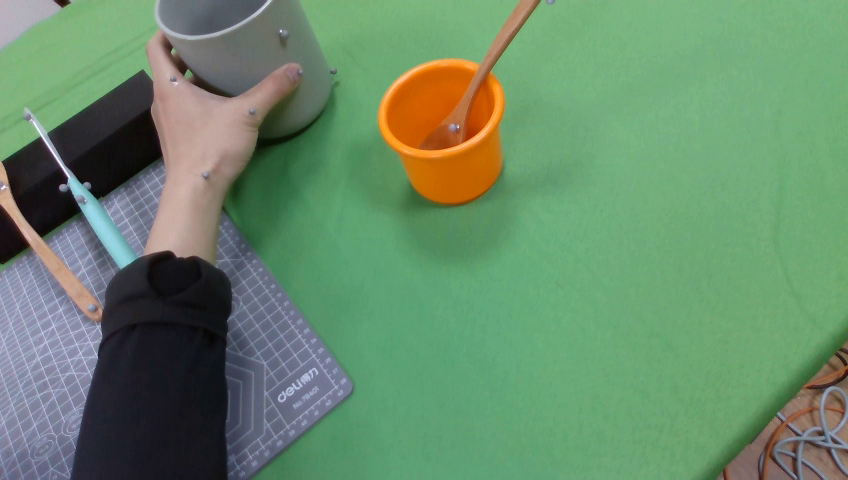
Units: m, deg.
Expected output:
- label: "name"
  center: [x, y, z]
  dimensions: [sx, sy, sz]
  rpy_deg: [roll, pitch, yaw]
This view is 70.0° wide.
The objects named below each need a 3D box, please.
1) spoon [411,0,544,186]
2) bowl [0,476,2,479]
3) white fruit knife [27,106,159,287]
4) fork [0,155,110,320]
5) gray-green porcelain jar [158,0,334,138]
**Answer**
- label: "spoon"
  center: [0.044, -0.116, 0.433]
  dimensions: [0.022, 0.194, 0.041]
  rpy_deg: [-3, 48, -43]
- label: "bowl"
  center: [-0.317, 0.195, 0.375]
  dimensions: [0.151, 0.077, 0.150]
  rpy_deg: [-6, 60, 10]
- label: "white fruit knife"
  center: [-0.281, -0.042, 0.503]
  dimensions: [0.016, 0.027, 0.206]
  rpy_deg: [-39, 74, -11]
- label: "fork"
  center: [-0.320, -0.013, 0.493]
  dimensions: [0.028, 0.019, 0.206]
  rpy_deg: [-40, 79, -17]
- label: "gray-green porcelain jar"
  center: [-0.140, -0.158, 0.510]
  dimensions: [0.106, 0.128, 0.105]
  rpy_deg: [-6, 59, 10]
